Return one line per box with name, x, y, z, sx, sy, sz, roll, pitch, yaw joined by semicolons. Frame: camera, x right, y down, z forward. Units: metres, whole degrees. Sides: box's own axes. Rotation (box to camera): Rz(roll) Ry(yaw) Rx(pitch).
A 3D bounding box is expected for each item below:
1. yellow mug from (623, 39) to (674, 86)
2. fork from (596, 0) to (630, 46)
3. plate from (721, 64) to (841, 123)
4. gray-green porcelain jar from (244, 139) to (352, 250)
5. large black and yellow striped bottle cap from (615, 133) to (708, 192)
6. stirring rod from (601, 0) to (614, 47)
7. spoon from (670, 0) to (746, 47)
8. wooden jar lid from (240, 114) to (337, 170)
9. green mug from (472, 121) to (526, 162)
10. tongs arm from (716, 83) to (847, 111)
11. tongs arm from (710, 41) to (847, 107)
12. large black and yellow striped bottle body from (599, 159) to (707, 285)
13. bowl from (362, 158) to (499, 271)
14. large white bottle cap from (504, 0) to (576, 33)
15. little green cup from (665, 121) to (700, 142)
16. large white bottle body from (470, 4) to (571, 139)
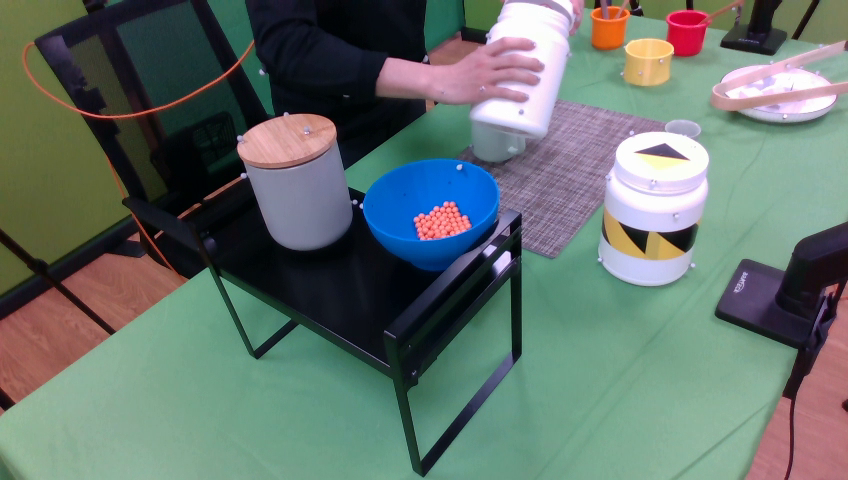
yellow mug;0.484;-0.398;1.333;0.100;0.064;0.130;-18;41;-11
fork;0.481;-0.556;1.452;0.028;0.019;0.207;40;103;38
plate;0.695;-0.282;1.189;0.207;0.039;0.206;-4;40;4
gray-green porcelain jar;-0.144;-0.060;0.714;0.106;0.127;0.105;-4;41;4
large black and yellow striped bottle cap;0.313;-0.105;0.799;0.115;0.019;0.114;-5;41;5
stirring rod;0.439;-0.552;1.463;0.014;0.006;0.175;-7;83;3
spoon;0.629;-0.485;1.350;0.022;0.193;0.042;47;54;-7
wooden jar lid;-0.149;-0.106;0.673;0.108;0.021;0.108;-6;38;5
green mug;0.144;-0.202;1.122;0.093;0.105;0.124;-29;45;-23
tongs arm;0.738;-0.282;1.134;0.388;0.028;0.028;-9;47;-5
tongs arm;0.712;-0.332;1.194;0.386;0.026;0.050;-18;45;-16
large black and yellow striped bottle body;0.320;-0.042;0.854;0.131;0.185;0.130;-4;40;4
bowl;0.011;-0.019;0.679;0.151;0.077;0.150;-5;41;5
large white bottle cap;0.185;-0.358;0.961;0.114;0.115;0.018;14;82;24
little green cup;0.473;-0.188;1.113;0.061;0.039;0.061;-5;40;5
large white bottle body;0.158;-0.266;0.966;0.131;0.184;0.130;14;6;-1
